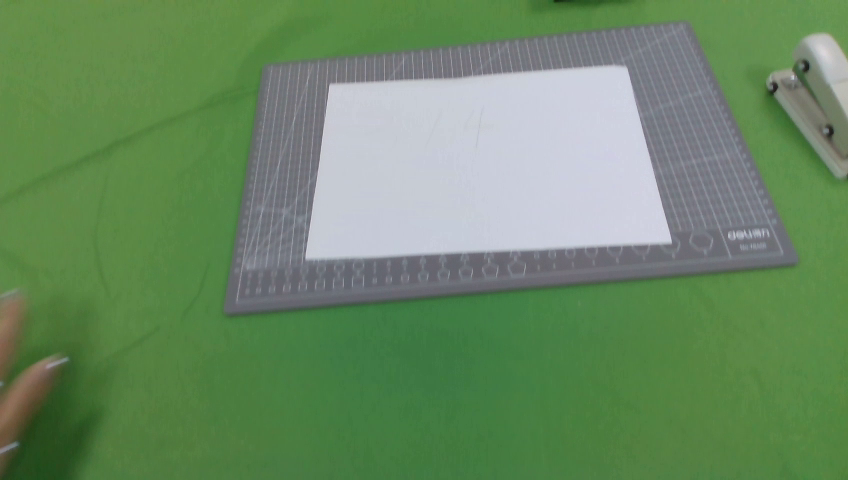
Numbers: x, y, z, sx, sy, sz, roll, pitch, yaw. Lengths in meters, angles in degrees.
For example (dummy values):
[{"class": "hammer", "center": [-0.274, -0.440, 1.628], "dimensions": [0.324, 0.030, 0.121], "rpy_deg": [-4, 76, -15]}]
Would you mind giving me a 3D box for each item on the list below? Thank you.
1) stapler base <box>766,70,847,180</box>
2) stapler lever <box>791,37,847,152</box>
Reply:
[{"class": "stapler base", "center": [0.352, -0.110, 0.533], "dimensions": [0.041, 0.024, 0.129], "rpy_deg": [-13, 57, 0]}, {"class": "stapler lever", "center": [0.350, -0.123, 0.511], "dimensions": [0.027, 0.040, 0.117], "rpy_deg": [-13, 58, 0]}]
